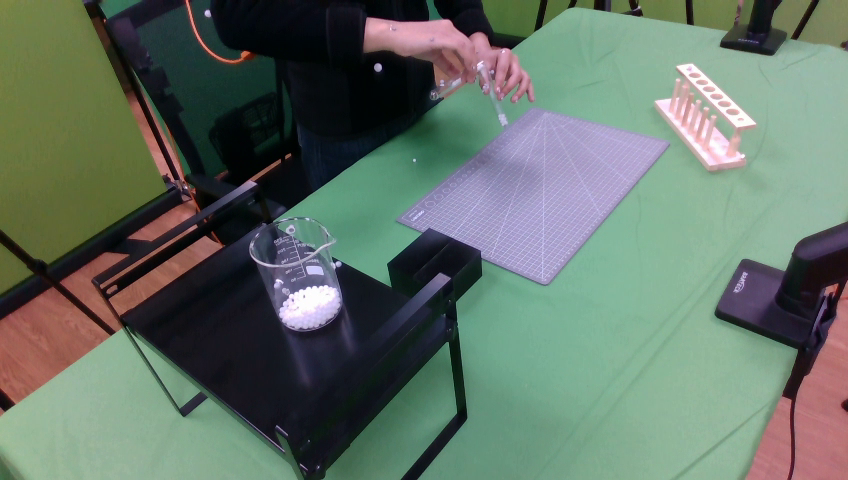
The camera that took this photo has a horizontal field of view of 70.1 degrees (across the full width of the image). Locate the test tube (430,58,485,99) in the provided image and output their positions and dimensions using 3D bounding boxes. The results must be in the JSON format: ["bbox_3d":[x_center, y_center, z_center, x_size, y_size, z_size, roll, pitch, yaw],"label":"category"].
[{"bbox_3d":[0.053,-0.250,0.934,0.017,0.017,0.151,19,42,28],"label":"test tube"}]

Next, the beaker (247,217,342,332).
[{"bbox_3d":[-0.124,0.037,0.614,0.084,0.101,0.073,-7,41,0],"label":"beaker"}]

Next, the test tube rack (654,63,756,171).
[{"bbox_3d":[0.510,-0.233,1.120,0.067,0.085,0.241,-8,41,-1],"label":"test tube rack"}]

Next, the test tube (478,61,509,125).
[{"bbox_3d":[0.122,-0.250,1.046,0.017,0.151,0.017,-11,56,18],"label":"test tube"}]
